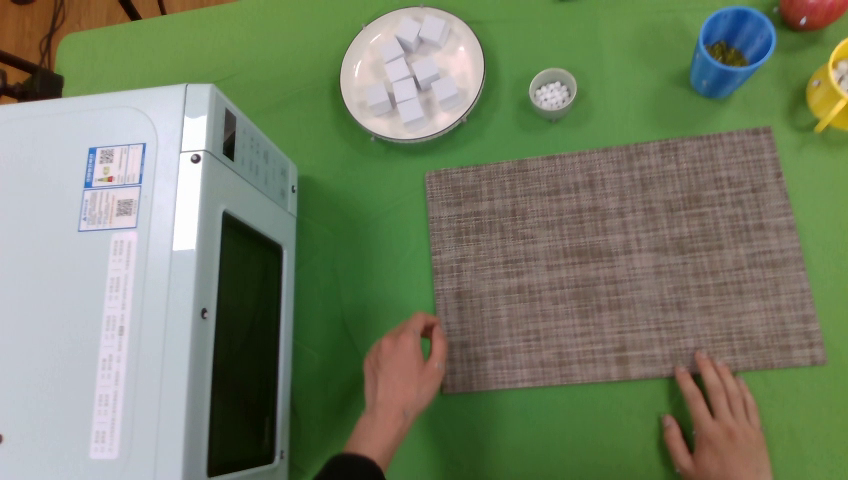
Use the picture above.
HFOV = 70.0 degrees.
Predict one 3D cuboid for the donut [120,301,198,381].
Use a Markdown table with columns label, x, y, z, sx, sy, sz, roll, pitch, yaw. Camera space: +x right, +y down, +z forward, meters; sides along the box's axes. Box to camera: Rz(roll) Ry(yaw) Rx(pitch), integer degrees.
| label | x | y | z | sx | sy | sz | roll | pitch | yaw |
| --- | --- | --- | --- | --- | --- | --- | --- | --- | --- |
| donut | -0.328 | 0.125 | 0.750 | 0.099 | 0.048 | 0.099 | -1 | 86 | 8 |

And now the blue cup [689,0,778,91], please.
| label | x | y | z | sx | sy | sz | roll | pitch | yaw |
| --- | --- | --- | --- | --- | --- | --- | --- | --- | --- |
| blue cup | 0.373 | -0.234 | 0.752 | 0.092 | 0.101 | 0.092 | -2 | 78 | 9 |

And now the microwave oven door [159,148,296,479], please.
| label | x | y | z | sx | sy | sz | roll | pitch | yaw |
| --- | --- | --- | --- | --- | --- | --- | --- | --- | --- |
| microwave oven door | -0.209 | 0.106 | 0.683 | 0.039 | 0.245 | 0.354 | -4 | 76 | 10 |

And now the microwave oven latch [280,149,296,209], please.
| label | x | y | z | sx | sy | sz | roll | pitch | yaw |
| --- | --- | --- | --- | --- | --- | --- | --- | --- | --- |
| microwave oven latch | -0.192 | -0.083 | 0.831 | 0.030 | 0.030 | 0.079 | -1 | 77 | 10 |

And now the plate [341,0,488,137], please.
| label | x | y | z | sx | sy | sz | roll | pitch | yaw |
| --- | --- | --- | --- | --- | --- | --- | --- | --- | --- |
| plate | -0.012 | -0.239 | 0.856 | 0.207 | 0.039 | 0.206 | -2 | 76 | 10 |

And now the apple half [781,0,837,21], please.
| label | x | y | z | sx | sy | sz | roll | pitch | yaw |
| --- | --- | --- | --- | --- | --- | --- | --- | --- | --- |
| apple half | 0.483 | -0.319 | 0.767 | 0.053 | 0.075 | 0.080 | -2 | 80 | 13 |

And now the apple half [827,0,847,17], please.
| label | x | y | z | sx | sy | sz | roll | pitch | yaw |
| --- | --- | --- | --- | --- | --- | --- | --- | --- | --- |
| apple half | 0.521 | -0.320 | 0.758 | 0.032 | 0.082 | 0.081 | -1 | 76 | 13 |

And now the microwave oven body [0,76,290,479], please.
| label | x | y | z | sx | sy | sz | roll | pitch | yaw |
| --- | --- | --- | --- | --- | --- | --- | --- | --- | --- |
| microwave oven body | -0.352 | 0.075 | 0.722 | 0.325 | 0.262 | 0.439 | -4 | 77 | 9 |

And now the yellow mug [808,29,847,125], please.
| label | x | y | z | sx | sy | sz | roll | pitch | yaw |
| --- | --- | --- | --- | --- | --- | --- | --- | --- | --- |
| yellow mug | 0.522 | -0.191 | 0.732 | 0.099 | 0.064 | 0.131 | 42 | 88 | 17 |

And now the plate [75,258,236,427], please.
| label | x | y | z | sx | sy | sz | roll | pitch | yaw |
| --- | --- | --- | --- | --- | --- | --- | --- | --- | --- |
| plate | -0.331 | 0.126 | 0.759 | 0.209 | 0.038 | 0.208 | -2 | 77 | 9 |

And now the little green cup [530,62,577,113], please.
| label | x | y | z | sx | sy | sz | roll | pitch | yaw |
| --- | --- | --- | --- | --- | --- | --- | --- | --- | --- |
| little green cup | 0.173 | -0.202 | 0.813 | 0.061 | 0.039 | 0.061 | -2 | 76 | 10 |
